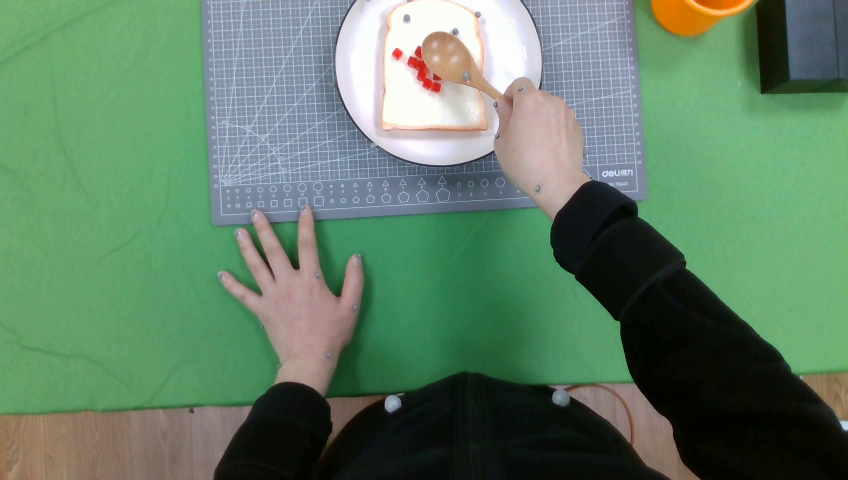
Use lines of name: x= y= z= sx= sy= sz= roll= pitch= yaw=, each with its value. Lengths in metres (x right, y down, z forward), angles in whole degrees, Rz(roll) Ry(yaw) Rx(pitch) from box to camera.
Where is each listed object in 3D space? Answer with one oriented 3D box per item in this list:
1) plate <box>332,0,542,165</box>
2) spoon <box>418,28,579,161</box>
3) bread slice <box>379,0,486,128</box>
plate: x=0.014 y=-0.177 z=0.614 sx=0.209 sy=0.038 sz=0.209 roll=0 pitch=88 yaw=-2
spoon: x=0.069 y=-0.135 z=0.571 sx=0.192 sy=0.022 sz=0.041 roll=43 pitch=93 yaw=17
bread slice: x=0.005 y=-0.178 z=0.615 sx=0.107 sy=0.018 sz=0.134 roll=-3 pitch=88 yaw=-3
